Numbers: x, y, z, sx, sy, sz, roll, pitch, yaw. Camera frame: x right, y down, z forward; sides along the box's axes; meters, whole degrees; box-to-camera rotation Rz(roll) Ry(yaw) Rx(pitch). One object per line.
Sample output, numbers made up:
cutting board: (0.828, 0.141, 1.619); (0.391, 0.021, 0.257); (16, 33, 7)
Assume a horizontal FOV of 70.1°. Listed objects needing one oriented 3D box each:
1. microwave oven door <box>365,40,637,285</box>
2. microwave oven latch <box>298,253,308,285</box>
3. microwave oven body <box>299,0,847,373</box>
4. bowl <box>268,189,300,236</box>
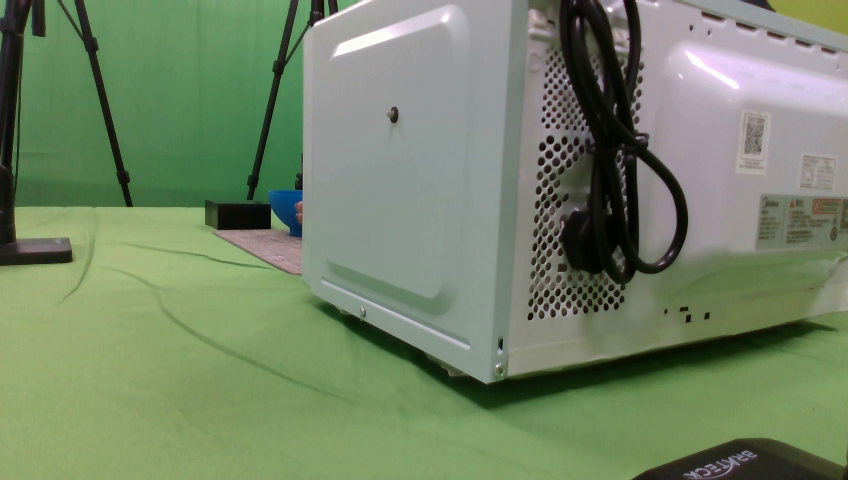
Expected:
microwave oven door: (0.105, -0.081, 0.693); (0.358, 0.243, 0.039); (-2, 9, -30)
microwave oven latch: (-0.081, 0.027, 0.583); (0.079, 0.029, 0.030); (-2, 8, -33)
microwave oven body: (0.152, -0.055, 0.542); (0.444, 0.260, 0.324); (-2, 7, -33)
bowl: (-0.205, -0.049, 1.090); (0.151, 0.077, 0.151); (3, 7, 0)
